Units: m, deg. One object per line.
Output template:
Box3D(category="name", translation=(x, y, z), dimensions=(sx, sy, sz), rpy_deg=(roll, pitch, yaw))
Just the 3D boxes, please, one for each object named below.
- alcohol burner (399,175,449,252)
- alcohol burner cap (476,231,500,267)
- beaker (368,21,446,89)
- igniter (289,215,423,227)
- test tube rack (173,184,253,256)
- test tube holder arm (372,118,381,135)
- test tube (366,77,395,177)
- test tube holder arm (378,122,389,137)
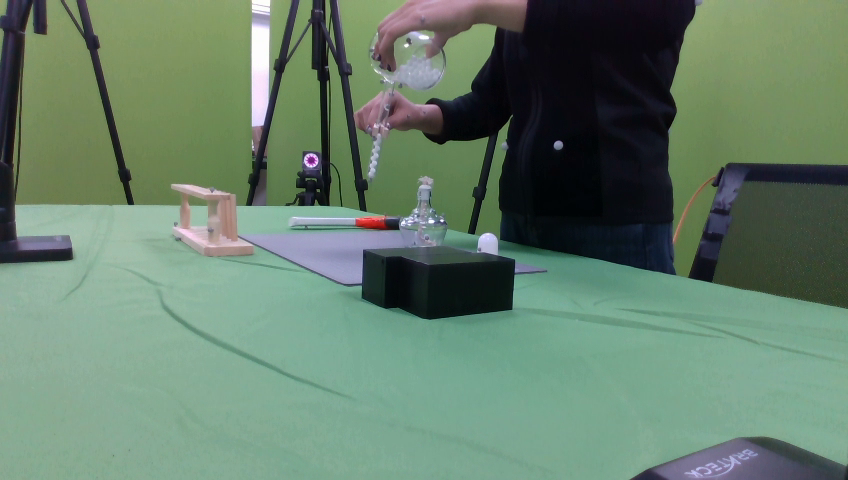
Box3D(category="alcohol burner", translation=(0.000, -0.041, 0.937), dimensions=(0.078, 0.119, 0.078), rpy_deg=(0, 8, 0))
Box3D(category="alcohol burner cap", translation=(0.088, 0.012, 0.830), dimensions=(0.034, 0.048, 0.034), rpy_deg=(2, 6, 0))
Box3D(category="beaker", translation=(-0.023, -0.253, 0.840), dimensions=(0.074, 0.084, 0.100), rpy_deg=(-13, 32, -30))
Box3D(category="igniter", translation=(-0.133, -0.038, 1.232), dimensions=(0.278, 0.025, 0.057), rpy_deg=(-1, -2, -25))
Box3D(category="test tube rack", translation=(-0.329, -0.036, 0.927), dimensions=(0.067, 0.085, 0.241), rpy_deg=(-2, 9, -32))
Box3D(category="test tube holder arm", translation=(-0.076, -0.185, 0.975), dimensions=(0.013, 0.015, 0.178), rpy_deg=(15, 14, -8))
Box3D(category="test tube", translation=(-0.066, -0.168, 0.910), dimensions=(0.017, 0.150, 0.017), rpy_deg=(12, 16, -3))
Box3D(category="test tube holder arm", translation=(-0.066, -0.171, 0.933), dimensions=(0.010, 0.015, 0.087), rpy_deg=(12, 15, -16))
